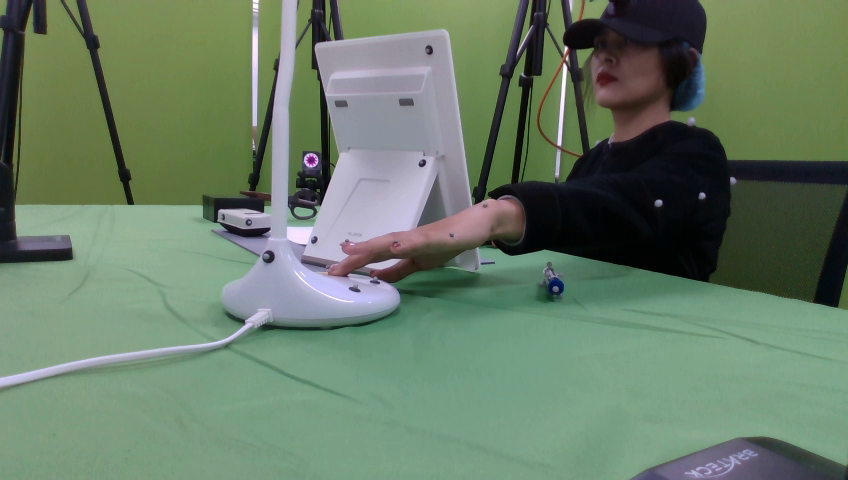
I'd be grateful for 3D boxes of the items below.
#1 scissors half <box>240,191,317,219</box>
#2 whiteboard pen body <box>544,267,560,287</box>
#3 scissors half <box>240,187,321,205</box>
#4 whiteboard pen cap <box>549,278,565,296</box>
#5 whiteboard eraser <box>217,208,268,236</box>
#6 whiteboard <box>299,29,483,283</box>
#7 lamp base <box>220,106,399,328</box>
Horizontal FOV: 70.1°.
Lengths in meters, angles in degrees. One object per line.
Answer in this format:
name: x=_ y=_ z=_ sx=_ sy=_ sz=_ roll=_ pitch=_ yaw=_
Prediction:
scissors half: x=-0.317 y=-0.079 z=1.326 sx=0.176 sy=0.040 sz=0.013 roll=18 pitch=16 yaw=-31
whiteboard pen body: x=0.149 y=0.047 z=0.697 sx=0.017 sy=0.017 sz=0.141 roll=4 pitch=4 yaw=9
scissors half: x=-0.311 y=-0.097 z=1.319 sx=0.176 sy=0.040 sz=0.012 roll=-1 pitch=30 yaw=-25
whiteboard pen cap: x=0.140 y=0.050 z=0.639 sx=0.018 sy=0.018 sz=0.033 roll=4 pitch=2 yaw=8
whiteboard eraser: x=-0.309 y=-0.031 z=1.044 sx=0.056 sy=0.042 sz=0.112 roll=-2 pitch=9 yaw=-40
whiteboard: x=-0.074 y=-0.082 z=0.742 sx=0.216 sy=0.305 sz=0.144 roll=9 pitch=29 yaw=38
lamp base: x=-0.101 y=-0.023 z=0.531 sx=0.160 sy=0.180 sz=0.179 roll=4 pitch=10 yaw=10
